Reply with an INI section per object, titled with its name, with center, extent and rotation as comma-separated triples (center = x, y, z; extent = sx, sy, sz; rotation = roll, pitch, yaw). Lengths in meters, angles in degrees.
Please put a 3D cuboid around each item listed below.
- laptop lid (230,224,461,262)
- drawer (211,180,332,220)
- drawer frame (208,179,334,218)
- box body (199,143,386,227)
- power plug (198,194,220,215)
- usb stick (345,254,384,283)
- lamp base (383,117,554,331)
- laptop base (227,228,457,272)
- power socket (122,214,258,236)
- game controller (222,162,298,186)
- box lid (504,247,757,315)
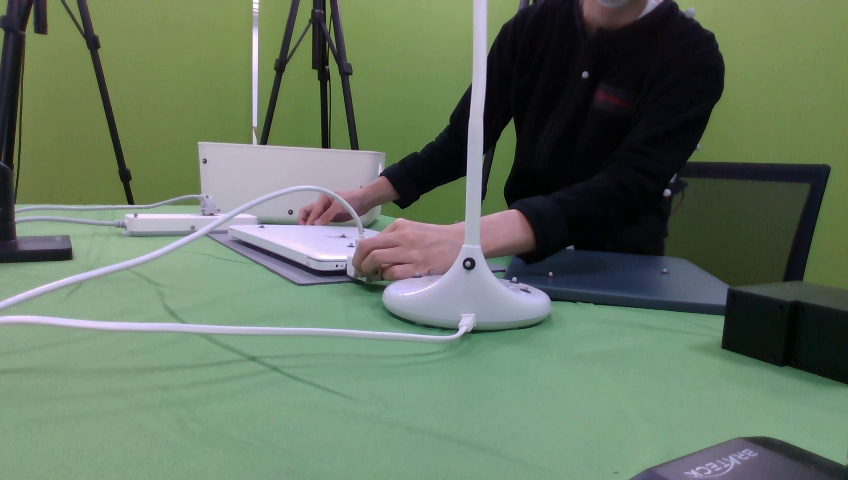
[laptop lid]
center = -0.120, 0.000, 0.889
extent = 0.243, 0.013, 0.355
rotation = 1, 7, -33
[drawer]
center = -0.328, -0.095, 1.332
extent = 0.212, 0.073, 0.194
rotation = 5, 8, 6
[drawer frame]
center = -0.327, -0.093, 1.328
extent = 0.213, 0.082, 0.202
rotation = 0, 5, 6
[box body]
center = -0.276, -0.124, 1.335
extent = 0.364, 0.160, 0.254
rotation = 3, 7, 1
[power plug]
center = -0.387, -0.055, 1.089
extent = 0.035, 0.052, 0.072
rotation = -1, 7, -22
[usb stick]
center = -0.070, 0.031, 0.679
extent = 0.021, 0.027, 0.059
rotation = -10, 9, -37
[lamp base]
center = 0.045, -0.019, 0.547
extent = 0.161, 0.180, 0.179
rotation = 2, 10, -4
[laptop base]
center = -0.122, 0.012, 0.889
extent = 0.237, 0.023, 0.352
rotation = 2, 6, -35
[power socket]
center = -0.399, -0.028, 1.049
extent = 0.228, 0.032, 0.072
rotation = -3, 8, -34
[game controller]
center = -0.357, -0.143, 1.322
extent = 0.156, 0.051, 0.097
rotation = 1, 2, -16
[box lid]
center = 0.244, 0.044, 0.793
extent = 0.263, 0.015, 0.372
rotation = 4, 6, 10
